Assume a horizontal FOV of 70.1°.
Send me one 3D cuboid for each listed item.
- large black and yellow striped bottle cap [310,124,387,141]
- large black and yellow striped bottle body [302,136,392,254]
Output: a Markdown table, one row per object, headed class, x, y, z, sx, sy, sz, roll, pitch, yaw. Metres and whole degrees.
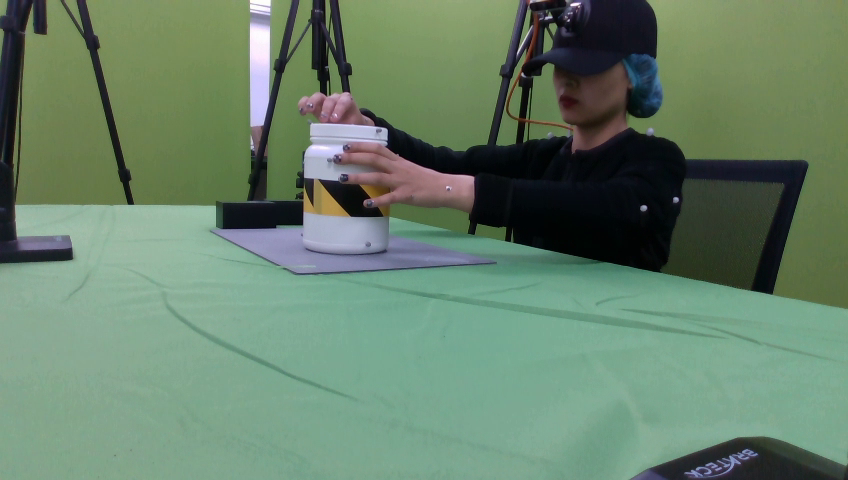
| class | x | y | z | sx | sy | sz | roll | pitch | yaw |
| --- | --- | --- | --- | --- | --- | --- | --- | --- | --- |
| large black and yellow striped bottle cap | -0.112 | -0.160 | 0.901 | 0.115 | 0.019 | 0.115 | 3 | 9 | 0 |
| large black and yellow striped bottle body | -0.116 | -0.077 | 0.912 | 0.131 | 0.184 | 0.130 | 3 | 8 | 0 |
